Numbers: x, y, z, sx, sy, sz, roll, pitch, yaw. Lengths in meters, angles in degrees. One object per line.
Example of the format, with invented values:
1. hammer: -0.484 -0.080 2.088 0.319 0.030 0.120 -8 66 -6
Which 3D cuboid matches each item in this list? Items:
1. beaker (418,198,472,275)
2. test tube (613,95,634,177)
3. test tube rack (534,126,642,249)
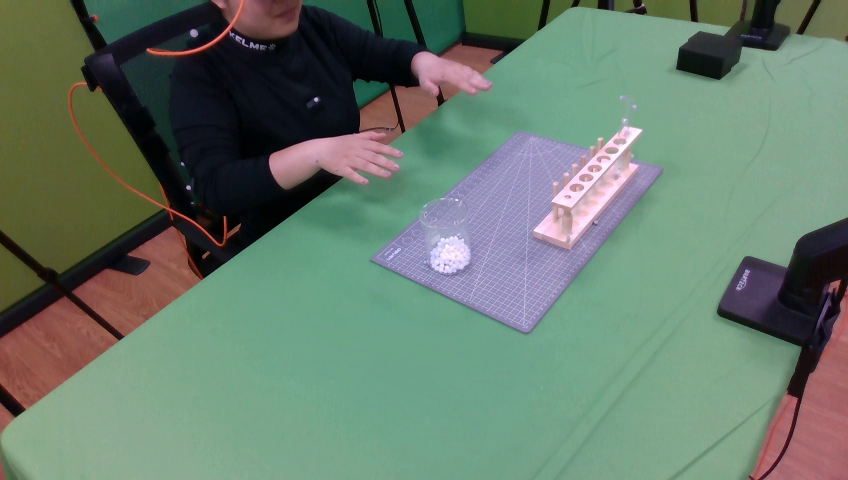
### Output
1. beaker: 0.037 -0.004 0.916 0.073 0.101 0.084 24 49 33
2. test tube: 0.324 -0.166 0.987 0.017 0.151 0.017 -4 42 4
3. test tube rack: 0.271 -0.095 0.990 0.066 0.085 0.243 23 49 33
